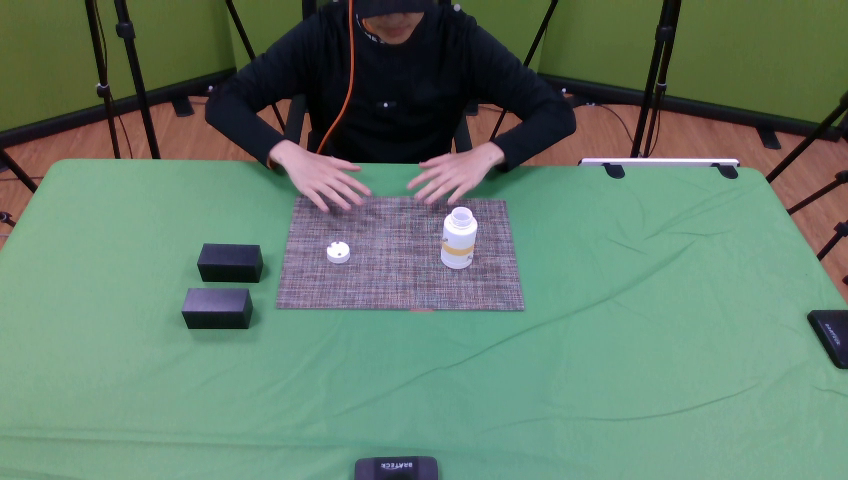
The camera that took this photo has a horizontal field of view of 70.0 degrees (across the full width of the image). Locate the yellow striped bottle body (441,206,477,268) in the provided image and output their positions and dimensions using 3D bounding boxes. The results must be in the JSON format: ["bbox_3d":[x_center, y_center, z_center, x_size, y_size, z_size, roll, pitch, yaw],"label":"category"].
[{"bbox_3d":[0.066,-0.009,1.135,0.063,0.121,0.062,2,46,-2],"label":"yellow striped bottle body"}]

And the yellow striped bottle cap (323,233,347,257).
[{"bbox_3d":[-0.168,0.010,1.143,0.044,0.019,0.044,3,55,-5],"label":"yellow striped bottle cap"}]
